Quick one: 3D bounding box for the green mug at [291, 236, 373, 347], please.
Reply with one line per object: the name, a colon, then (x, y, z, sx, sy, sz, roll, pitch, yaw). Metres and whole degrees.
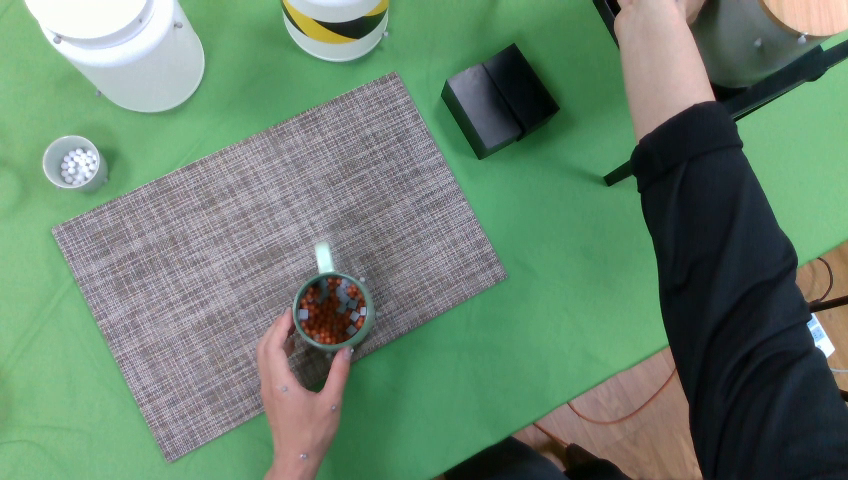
green mug: (-0.106, 0.057, 0.678, 0.092, 0.105, 0.125, -11, 84, -8)

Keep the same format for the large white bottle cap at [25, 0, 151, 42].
large white bottle cap: (-0.316, -0.244, 0.567, 0.115, 0.018, 0.114, 1, 83, -7)

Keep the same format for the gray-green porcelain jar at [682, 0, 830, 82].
gray-green porcelain jar: (0.319, -0.218, 0.578, 0.106, 0.126, 0.105, 1, 82, -6)

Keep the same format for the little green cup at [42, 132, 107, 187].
little green cup: (-0.399, -0.090, 0.697, 0.062, 0.038, 0.061, 1, 83, -7)

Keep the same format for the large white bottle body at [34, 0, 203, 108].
large white bottle body: (-0.325, -0.232, 0.650, 0.131, 0.185, 0.130, 1, 82, -6)

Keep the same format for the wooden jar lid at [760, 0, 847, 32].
wooden jar lid: (0.324, -0.227, 0.516, 0.108, 0.020, 0.108, 1, 85, -8)

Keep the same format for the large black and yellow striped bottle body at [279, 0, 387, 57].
large black and yellow striped bottle body: (-0.105, -0.305, 0.688, 0.131, 0.184, 0.130, 1, 82, -6)
